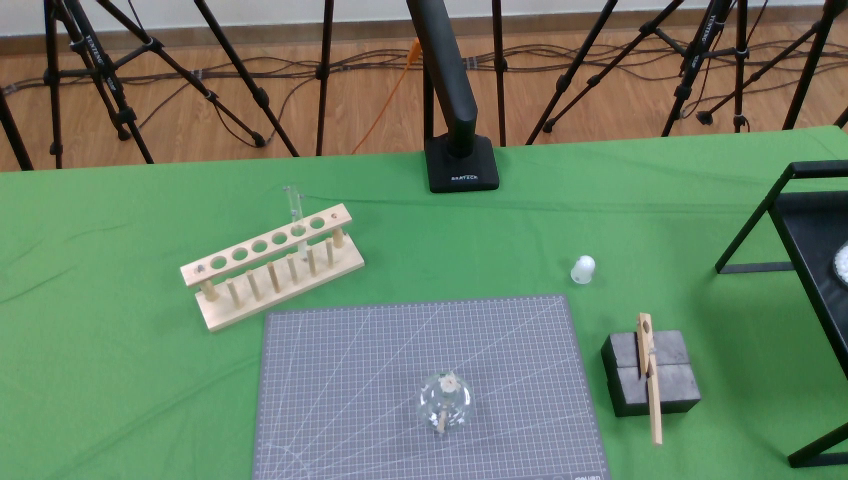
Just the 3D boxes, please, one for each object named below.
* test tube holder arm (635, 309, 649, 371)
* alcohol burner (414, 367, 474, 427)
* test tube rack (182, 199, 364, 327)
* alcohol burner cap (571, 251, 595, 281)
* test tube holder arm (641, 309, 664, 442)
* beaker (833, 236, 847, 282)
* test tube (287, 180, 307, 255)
[{"bbox_3d":[0.295,0.135,0.818,0.010,0.015,0.087,4,57,3],"label":"test tube holder arm"},{"bbox_3d":[0.027,0.193,0.767,0.078,0.120,0.077,2,57,-2],"label":"alcohol burner"},{"bbox_3d":[-0.214,0.032,0.887,0.242,0.086,0.066,-24,59,-17],"label":"test tube rack"},{"bbox_3d":[0.245,0.037,0.926,0.034,0.048,0.033,0,55,0],"label":"alcohol burner cap"},{"bbox_3d":[0.297,0.173,0.793,0.013,0.015,0.177,3,57,1],"label":"test tube holder arm"},{"bbox_3d":[0.534,0.007,0.703,0.084,0.101,0.073,-15,57,-10],"label":"beaker"},{"bbox_3d":[-0.180,-0.028,0.869,0.017,0.151,0.017,2,51,-2],"label":"test tube"}]
